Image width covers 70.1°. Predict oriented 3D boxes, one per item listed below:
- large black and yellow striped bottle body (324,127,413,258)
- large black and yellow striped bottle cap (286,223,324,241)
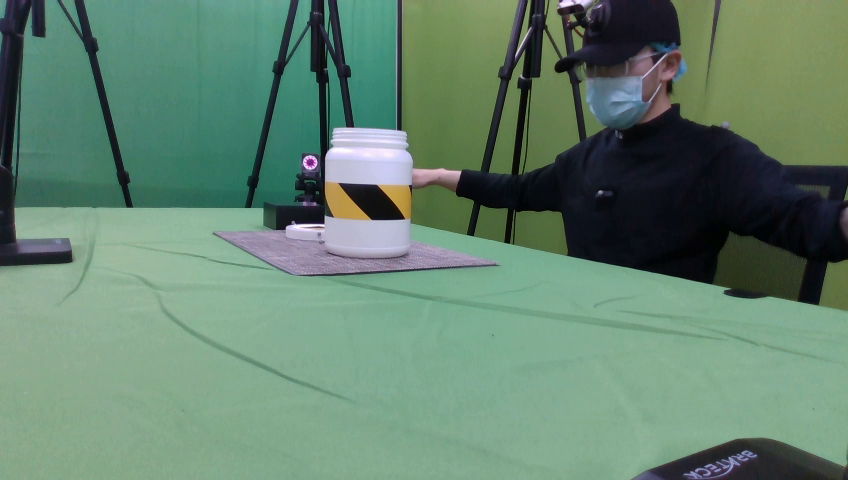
[{"bbox_3d":[-0.083,-0.073,0.899,0.131,0.184,0.130,2,8,0],"label":"large black and yellow striped bottle body"},{"bbox_3d":[-0.187,-0.015,1.077,0.115,0.019,0.115,2,9,0],"label":"large black and yellow striped bottle cap"}]
